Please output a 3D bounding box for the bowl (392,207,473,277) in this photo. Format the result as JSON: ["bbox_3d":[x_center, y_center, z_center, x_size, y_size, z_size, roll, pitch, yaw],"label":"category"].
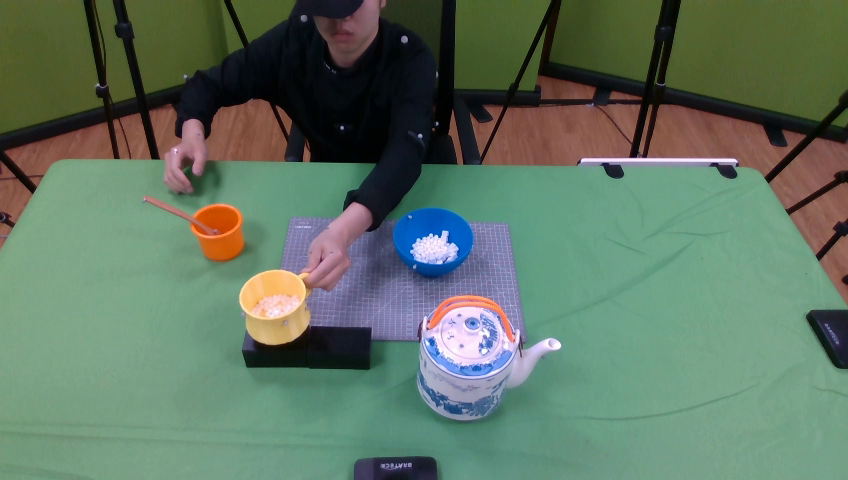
[{"bbox_3d":[0.014,0.016,1.140,0.151,0.077,0.150,2,46,-2],"label":"bowl"}]

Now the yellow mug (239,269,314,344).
[{"bbox_3d":[-0.223,0.095,0.957,0.099,0.064,0.131,31,50,25],"label":"yellow mug"}]

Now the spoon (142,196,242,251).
[{"bbox_3d":[-0.421,-0.032,1.108,0.021,0.195,0.041,-32,40,28],"label":"spoon"}]

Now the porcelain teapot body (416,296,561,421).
[{"bbox_3d":[0.094,0.164,0.907,0.205,0.226,0.144,6,45,1],"label":"porcelain teapot body"}]

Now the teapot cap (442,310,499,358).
[{"bbox_3d":[0.068,0.133,0.880,0.085,0.044,0.084,4,45,-4],"label":"teapot cap"}]
